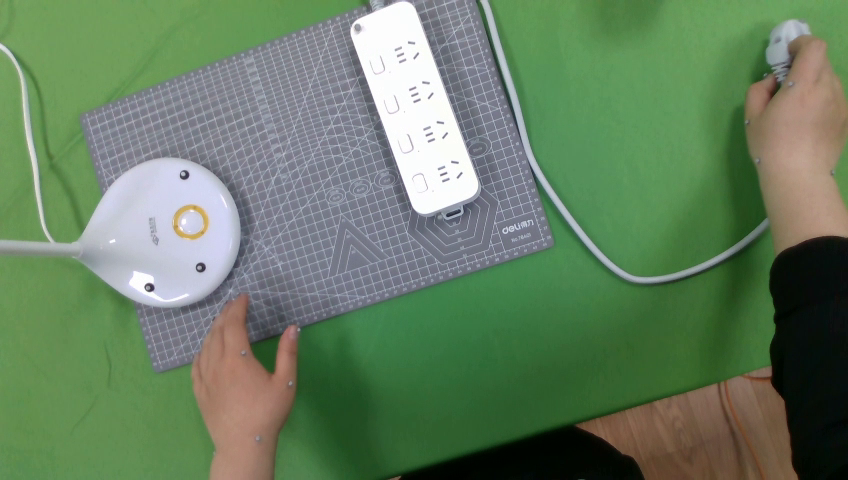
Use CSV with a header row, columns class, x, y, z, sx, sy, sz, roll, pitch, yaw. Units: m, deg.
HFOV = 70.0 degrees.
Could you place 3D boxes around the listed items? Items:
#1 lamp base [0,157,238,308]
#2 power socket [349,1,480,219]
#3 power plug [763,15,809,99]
class,x,y,z,sx,sy,sz,roll,pitch,yaw
lamp base,-0.296,-0.004,0.570,0.179,0.180,0.160,-24,86,9
power socket,-0.010,-0.131,0.608,0.072,0.032,0.226,-20,87,6
power plug,0.337,-0.171,0.566,0.053,0.035,0.073,-15,111,-29
